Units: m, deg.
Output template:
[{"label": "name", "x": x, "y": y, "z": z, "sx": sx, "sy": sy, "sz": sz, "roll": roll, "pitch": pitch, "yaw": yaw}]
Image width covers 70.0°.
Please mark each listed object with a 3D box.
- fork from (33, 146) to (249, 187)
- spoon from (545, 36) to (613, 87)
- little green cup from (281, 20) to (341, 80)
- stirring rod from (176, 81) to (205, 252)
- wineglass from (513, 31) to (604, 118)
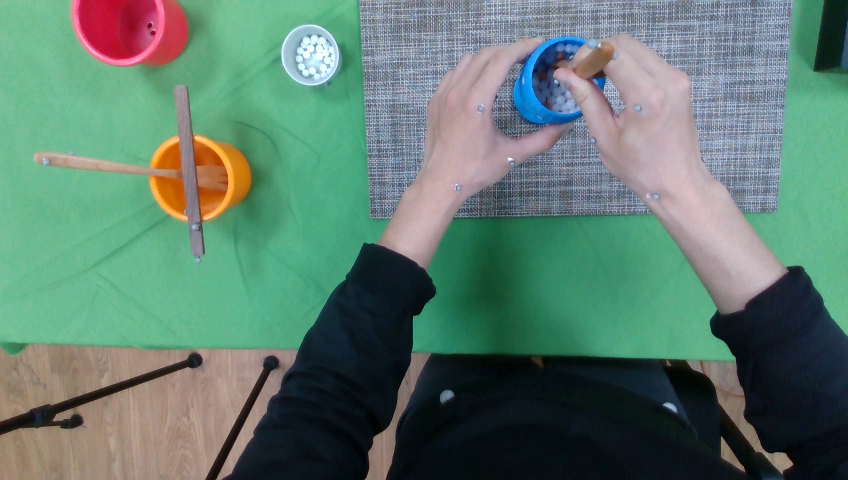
[{"label": "fork", "x": -0.284, "y": -0.077, "z": 0.632, "sx": 0.209, "sy": 0.018, "sz": 0.028, "roll": 3, "pitch": 112, "yaw": -40}, {"label": "spoon", "x": 0.118, "y": -0.133, "z": 0.459, "sx": 0.041, "sy": 0.193, "sz": 0.022, "roll": 32, "pitch": 104, "yaw": -1}, {"label": "little green cup", "x": -0.119, "y": -0.201, "z": 0.652, "sx": 0.061, "sy": 0.038, "sz": 0.062, "roll": 1, "pitch": 101, "yaw": 5}, {"label": "stirring rod", "x": -0.242, "y": -0.074, "z": 0.627, "sx": 0.014, "sy": 0.006, "sz": 0.176, "roll": -1, "pitch": 100, "yaw": 4}, {"label": "wineglass", "x": 0.121, "y": -0.150, "z": 0.572, "sx": 0.073, "sy": 0.172, "sz": 0.074, "roll": 1, "pitch": 100, "yaw": 5}]
